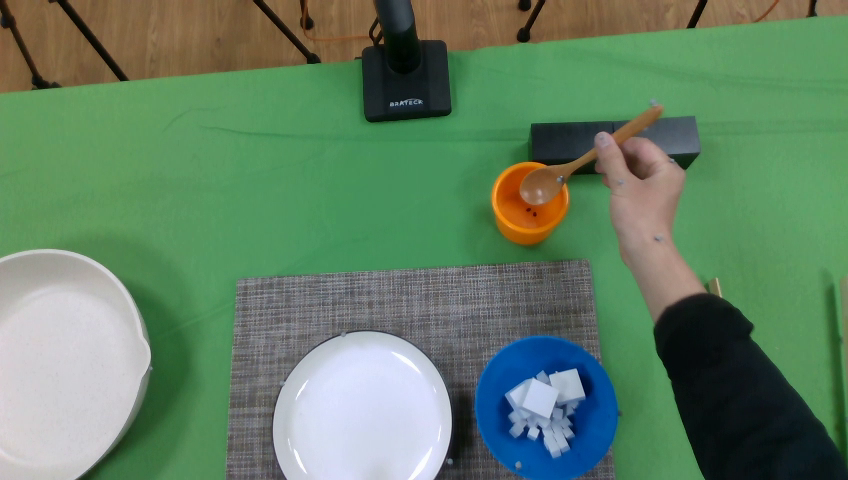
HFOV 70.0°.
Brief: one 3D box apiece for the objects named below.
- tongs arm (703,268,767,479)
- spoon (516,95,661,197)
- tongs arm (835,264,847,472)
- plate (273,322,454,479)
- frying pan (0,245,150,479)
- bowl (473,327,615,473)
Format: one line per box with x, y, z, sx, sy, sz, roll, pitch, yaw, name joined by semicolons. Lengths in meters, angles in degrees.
0.374;0.217;0.680;0.028;0.028;0.385;-9;74;0;tongs arm
0.165;-0.093;0.628;0.042;0.193;0.021;49;53;-7;spoon
0.455;0.214;0.670;0.050;0.027;0.383;3;76;6;tongs arm
-0.068;0.200;0.705;0.207;0.039;0.206;-1;74;4;plate
-0.458;0.247;0.687;0.307;0.103;0.483;-6;65;3;frying pan
0.129;0.177;0.676;0.151;0.077;0.150;-1;74;4;bowl
